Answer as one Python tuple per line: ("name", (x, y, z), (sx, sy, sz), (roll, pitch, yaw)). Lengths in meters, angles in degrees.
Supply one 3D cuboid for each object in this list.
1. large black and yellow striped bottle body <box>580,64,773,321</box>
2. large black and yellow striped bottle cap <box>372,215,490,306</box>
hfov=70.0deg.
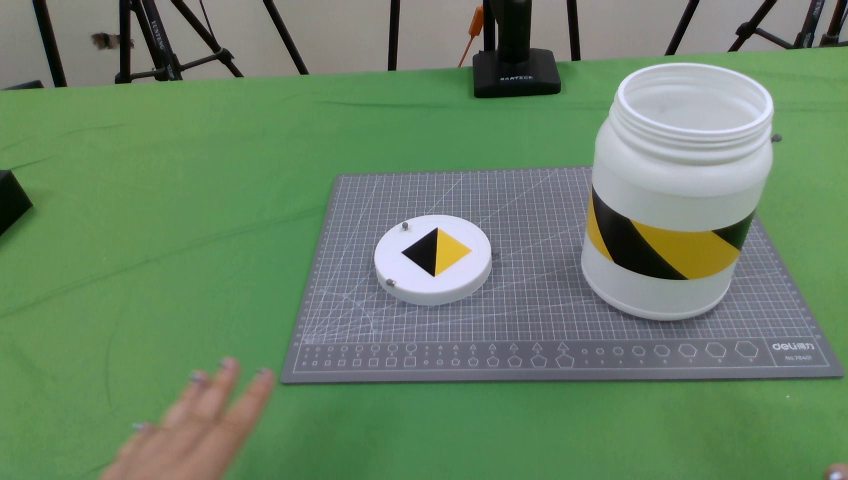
("large black and yellow striped bottle body", (0.204, -0.038, 0.504), (0.131, 0.186, 0.129), (-3, 41, 3))
("large black and yellow striped bottle cap", (0.007, 0.016, 0.591), (0.115, 0.019, 0.114), (-2, 42, 2))
